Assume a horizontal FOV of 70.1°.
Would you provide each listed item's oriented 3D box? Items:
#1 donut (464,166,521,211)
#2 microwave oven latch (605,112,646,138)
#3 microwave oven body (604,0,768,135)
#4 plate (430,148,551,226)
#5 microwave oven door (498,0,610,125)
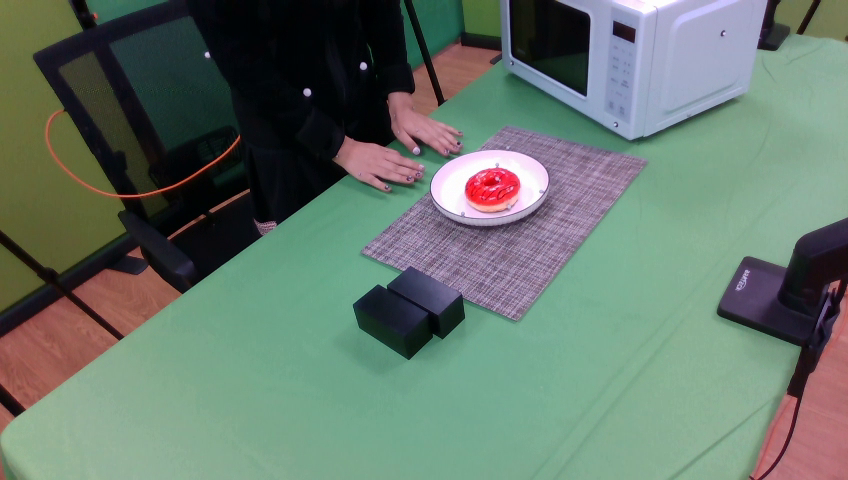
[{"bbox_3d":[0.117,-0.089,1.031,0.099,0.048,0.098,-7,41,7],"label":"donut"},{"bbox_3d":[0.375,-0.217,1.130,0.030,0.029,0.078,-24,42,-16],"label":"microwave oven latch"},{"bbox_3d":[0.410,-0.441,1.235,0.327,0.261,0.437,-25,42,-16],"label":"microwave oven body"},{"bbox_3d":[0.114,-0.089,1.049,0.209,0.038,0.208,-5,40,5],"label":"plate"},{"bbox_3d":[0.261,-0.410,1.219,0.039,0.245,0.352,-24,42,-17],"label":"microwave oven door"}]
